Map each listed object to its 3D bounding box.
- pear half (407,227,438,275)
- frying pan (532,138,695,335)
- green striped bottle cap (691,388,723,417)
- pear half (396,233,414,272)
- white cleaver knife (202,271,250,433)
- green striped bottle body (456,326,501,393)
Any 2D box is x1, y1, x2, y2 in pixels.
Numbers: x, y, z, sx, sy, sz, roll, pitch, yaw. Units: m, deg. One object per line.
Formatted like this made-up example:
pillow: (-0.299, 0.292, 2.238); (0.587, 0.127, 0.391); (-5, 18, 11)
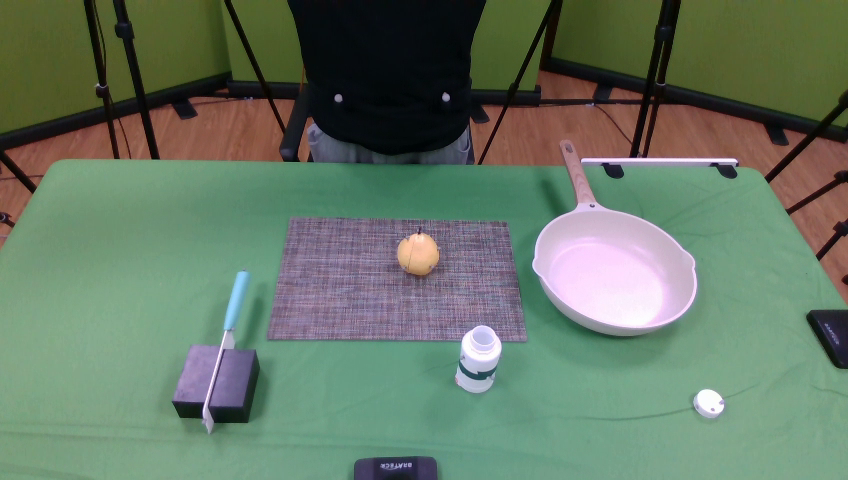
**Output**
pear half: (0.000, 0.016, 1.117); (0.056, 0.110, 0.076); (4, 51, 0)
frying pan: (0.336, -0.024, 1.190); (0.307, 0.103, 0.484); (-2, 55, -7)
green striped bottle cap: (0.460, 0.263, 0.984); (0.044, 0.020, 0.044); (3, 47, -3)
pear half: (-0.036, 0.018, 1.125); (0.031, 0.088, 0.070); (5, 50, -1)
white cleaver knife: (-0.322, 0.168, 0.980); (0.021, 0.066, 0.284); (7, 48, -6)
green striped bottle body: (0.086, 0.185, 0.959); (0.063, 0.120, 0.063); (2, 46, -2)
